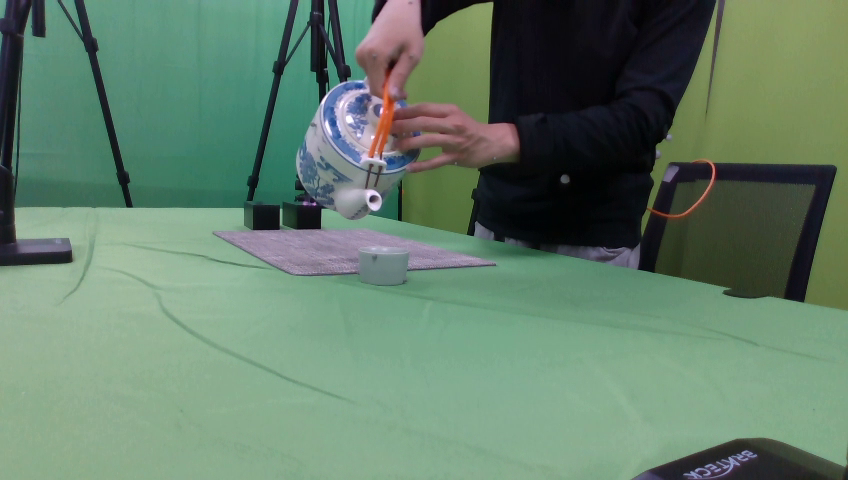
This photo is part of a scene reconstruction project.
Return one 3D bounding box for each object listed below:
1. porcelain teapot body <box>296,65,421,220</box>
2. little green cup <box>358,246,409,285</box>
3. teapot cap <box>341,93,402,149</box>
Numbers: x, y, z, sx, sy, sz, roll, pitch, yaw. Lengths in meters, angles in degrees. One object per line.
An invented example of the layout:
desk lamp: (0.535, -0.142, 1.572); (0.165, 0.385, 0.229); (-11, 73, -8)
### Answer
porcelain teapot body: (-0.078, -0.112, 0.801); (0.146, 0.205, 0.224); (8, -28, -24)
little green cup: (-0.048, 0.029, 0.707); (0.061, 0.038, 0.061); (2, 8, 0)
teapot cap: (-0.065, -0.156, 0.780); (0.085, 0.085, 0.043); (-1, -21, -27)
